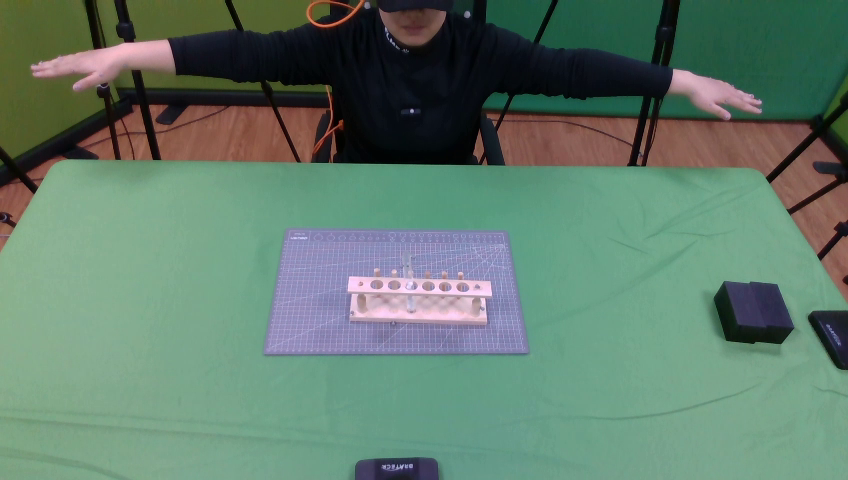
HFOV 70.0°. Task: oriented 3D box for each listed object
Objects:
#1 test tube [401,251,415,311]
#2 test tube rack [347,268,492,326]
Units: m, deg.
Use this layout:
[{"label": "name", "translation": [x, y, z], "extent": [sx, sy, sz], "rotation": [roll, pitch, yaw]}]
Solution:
[{"label": "test tube", "translation": [-0.026, 0.072, 1.011], "extent": [0.017, 0.151, 0.017], "rotation": [-1, 48, 2]}, {"label": "test tube rack", "translation": [-0.009, 0.095, 1.059], "extent": [0.242, 0.085, 0.066], "rotation": [2, 46, -2]}]
